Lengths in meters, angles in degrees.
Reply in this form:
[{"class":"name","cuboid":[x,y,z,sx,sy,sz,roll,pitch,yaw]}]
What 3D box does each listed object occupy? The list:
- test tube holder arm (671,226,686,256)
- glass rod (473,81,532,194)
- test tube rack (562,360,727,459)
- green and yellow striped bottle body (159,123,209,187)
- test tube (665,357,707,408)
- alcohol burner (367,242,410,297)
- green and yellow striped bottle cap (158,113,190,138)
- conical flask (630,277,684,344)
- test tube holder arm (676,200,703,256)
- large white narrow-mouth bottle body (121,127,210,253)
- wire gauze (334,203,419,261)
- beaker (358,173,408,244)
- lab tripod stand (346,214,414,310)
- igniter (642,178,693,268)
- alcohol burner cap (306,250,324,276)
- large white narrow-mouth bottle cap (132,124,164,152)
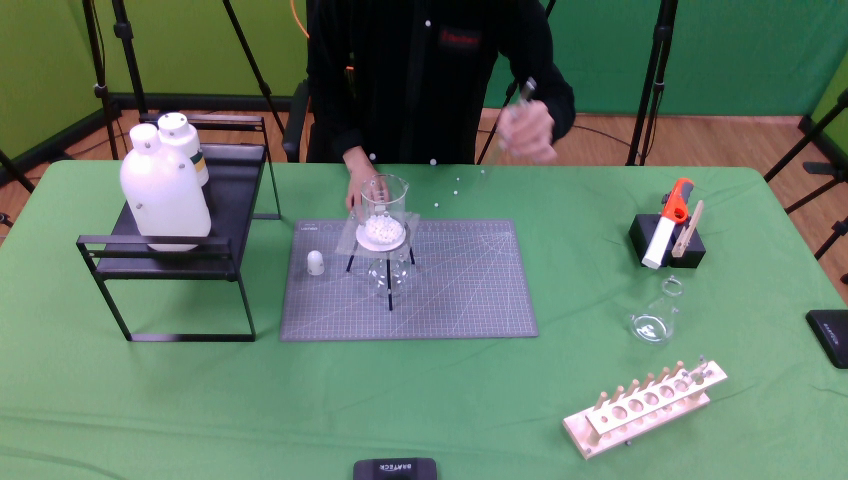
[{"class":"test tube holder arm","cuboid":[0.494,0.001,1.166,0.010,0.015,0.087,1,36,42]},{"class":"glass rod","cuboid":[0.103,-0.131,0.819,0.008,0.200,0.008,11,48,-12]},{"class":"test tube rack","cuboid":[0.341,0.247,0.940,0.243,0.085,0.066,-16,49,-18]},{"class":"green and yellow striped bottle body","cuboid":[-0.395,-0.145,0.989,0.063,0.120,0.063,2,46,-2]},{"class":"test tube","cuboid":[0.386,0.215,0.905,0.017,0.151,0.017,1,52,-1]},{"class":"alcohol burner","cuboid":[-0.064,0.047,1.080,0.078,0.120,0.077,1,47,-1]},{"class":"green and yellow striped bottle cap","cuboid":[-0.393,-0.180,0.951,0.045,0.020,0.045,2,44,-2]},{"class":"conical flask","cuboid":[0.408,0.117,1.045,0.075,0.122,0.075,2,46,-2]},{"class":"test tube holder arm","cuboid":[0.523,-0.025,1.190,0.013,0.015,0.178,1,36,41]},{"class":"large white narrow-mouth bottle body","cuboid":[-0.378,-0.077,0.875,0.102,0.195,0.101,3,46,-3]},{"class":"wire gauze","cuboid":[-0.079,-0.013,1.031,0.121,0.011,0.124,8,48,7]},{"class":"beaker","cuboid":[-0.066,-0.050,1.000,0.084,0.101,0.073,-18,49,-20]},{"class":"lab tripod stand","cuboid":[-0.075,0.030,1.082,0.148,0.132,0.147,1,47,-1]},{"class":"igniter","cuboid":[0.488,-0.042,1.205,0.057,0.025,0.276,30,51,11]},{"class":"alcohol burner cap","cuboid":[-0.204,0.040,1.125,0.034,0.048,0.033,2,46,-2]},{"class":"large white narrow-mouth bottle cap","cuboid":[-0.371,-0.138,0.813,0.038,0.024,0.037,3,46,-3]}]
